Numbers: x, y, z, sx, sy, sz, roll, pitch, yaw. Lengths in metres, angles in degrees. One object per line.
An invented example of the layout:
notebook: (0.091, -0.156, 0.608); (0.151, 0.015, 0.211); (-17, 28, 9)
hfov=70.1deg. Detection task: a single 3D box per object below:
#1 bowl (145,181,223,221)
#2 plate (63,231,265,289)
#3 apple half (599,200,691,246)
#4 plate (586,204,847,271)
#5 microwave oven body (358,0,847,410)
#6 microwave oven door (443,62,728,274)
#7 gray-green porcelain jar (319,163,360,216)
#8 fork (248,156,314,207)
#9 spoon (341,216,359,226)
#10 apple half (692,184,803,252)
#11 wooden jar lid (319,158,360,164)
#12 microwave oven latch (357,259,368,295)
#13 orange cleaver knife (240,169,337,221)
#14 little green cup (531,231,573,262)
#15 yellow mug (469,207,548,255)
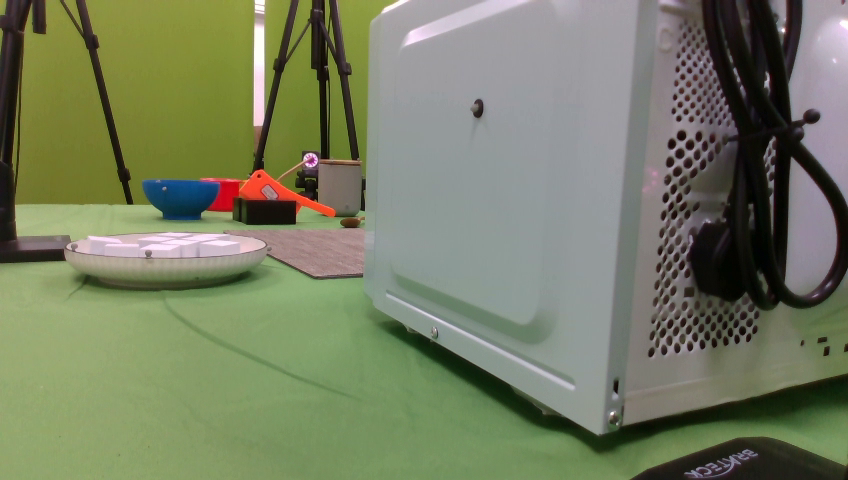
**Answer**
bowl: (-0.499, -0.081, 1.261); (0.151, 0.077, 0.151); (2, 8, 0)
plate: (-0.288, 0.021, 0.687); (0.208, 0.039, 0.207); (2, 8, 0)
apple half: (0.204, -0.018, 0.545); (0.081, 0.033, 0.081); (12, 5, -1)
plate: (0.244, -0.004, 0.517); (0.209, 0.038, 0.209); (3, 7, 0)
microwave oven body: (0.210, -0.051, 0.471); (0.444, 0.260, 0.324); (-1, 7, -28)
microwave oven door: (0.188, -0.097, 0.784); (0.354, 0.243, 0.039); (6, 9, 31)
gray-green porcelain jar: (-0.204, -0.126, 1.490); (0.106, 0.126, 0.106); (2, 8, 0)
fork: (-0.360, -0.147, 1.523); (0.207, 0.019, 0.028); (-43, 16, -7)
spoon: (-0.132, -0.047, 1.305); (0.041, 0.021, 0.194); (-14, 4, 14)
apple half: (0.280, -0.020, 0.517); (0.075, 0.053, 0.080); (9, 2, -19)
wooden jar lid: (-0.203, -0.189, 1.482); (0.108, 0.020, 0.108); (2, 10, 0)
microwave oven latch: (-0.019, 0.031, 0.529); (0.079, 0.029, 0.030); (-1, 7, -26)
orange cleaver knife: (-0.287, -0.081, 1.299); (0.212, 0.077, 0.012); (25, -2, -31)
little green cup: (0.185, 0.010, 0.879); (0.061, 0.038, 0.061); (2, 8, 0)
yellow mug: (0.137, -0.015, 0.951); (0.131, 0.064, 0.099); (2, 7, -21)
